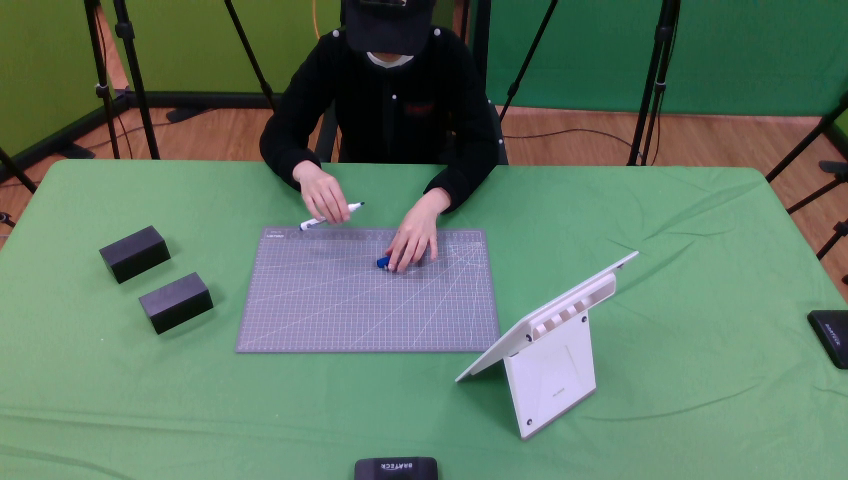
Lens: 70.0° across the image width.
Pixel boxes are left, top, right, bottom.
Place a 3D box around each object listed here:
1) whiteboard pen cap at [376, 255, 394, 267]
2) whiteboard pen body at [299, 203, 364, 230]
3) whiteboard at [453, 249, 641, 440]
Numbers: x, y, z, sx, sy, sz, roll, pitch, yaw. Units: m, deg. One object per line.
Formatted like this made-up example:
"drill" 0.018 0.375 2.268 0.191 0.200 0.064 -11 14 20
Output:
"whiteboard pen cap" -0.074 0.040 1.150 0.033 0.018 0.018 -16 50 -14
"whiteboard pen body" -0.172 -0.046 1.129 0.141 0.017 0.017 -19 44 18
"whiteboard" 0.206 0.174 0.890 0.217 0.306 0.143 -25 72 -25
